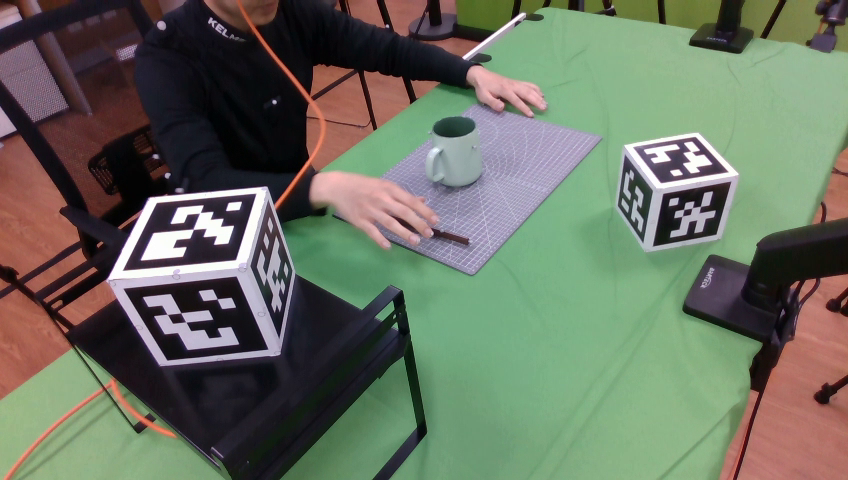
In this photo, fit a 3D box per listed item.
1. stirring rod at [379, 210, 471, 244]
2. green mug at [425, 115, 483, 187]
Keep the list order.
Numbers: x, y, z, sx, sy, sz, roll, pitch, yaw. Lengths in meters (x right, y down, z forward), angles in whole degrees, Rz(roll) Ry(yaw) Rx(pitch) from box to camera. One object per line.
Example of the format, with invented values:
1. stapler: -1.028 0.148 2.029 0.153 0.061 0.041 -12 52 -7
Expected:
1. stirring rod: -0.002 -0.022 0.996 0.175 0.014 0.006 18 51 26
2. green mug: 0.047 -0.148 1.068 0.092 0.105 0.125 24 50 31
